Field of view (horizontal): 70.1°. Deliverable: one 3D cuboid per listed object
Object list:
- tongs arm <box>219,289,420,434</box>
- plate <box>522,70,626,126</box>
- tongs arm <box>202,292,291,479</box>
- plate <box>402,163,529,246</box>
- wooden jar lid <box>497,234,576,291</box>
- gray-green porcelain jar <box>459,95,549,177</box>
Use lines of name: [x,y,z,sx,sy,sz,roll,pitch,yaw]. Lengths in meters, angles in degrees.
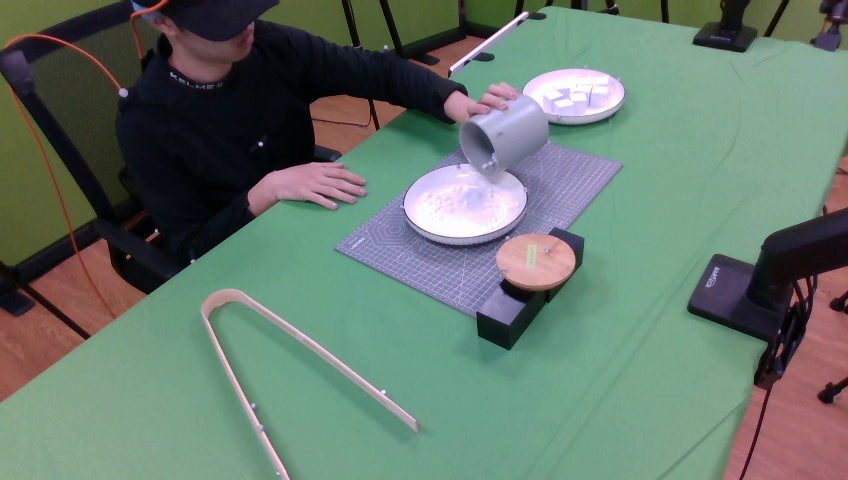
tongs arm: [-0.152,0.151,0.812,0.384,0.028,0.028,26,53,33]
plate: [0.308,-0.289,1.251,0.207,0.039,0.206,-4,40,4]
tongs arm: [-0.216,0.187,0.772,0.051,0.026,0.381,-27,43,-24]
plate: [0.069,-0.056,1.008,0.209,0.038,0.208,-4,40,4]
wooden jar lid: [0.155,0.032,0.834,0.108,0.021,0.108,-5,40,4]
gray-green porcelain jar: [0.140,-0.181,1.030,0.127,0.106,0.105,-31,45,-21]
